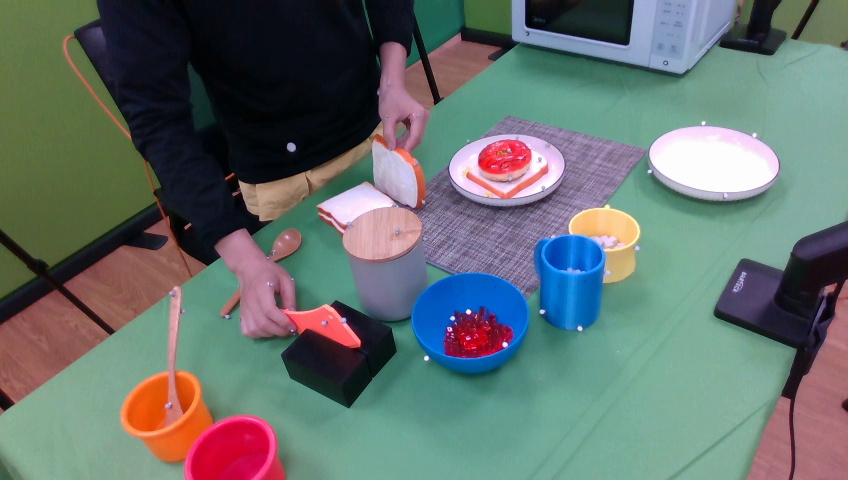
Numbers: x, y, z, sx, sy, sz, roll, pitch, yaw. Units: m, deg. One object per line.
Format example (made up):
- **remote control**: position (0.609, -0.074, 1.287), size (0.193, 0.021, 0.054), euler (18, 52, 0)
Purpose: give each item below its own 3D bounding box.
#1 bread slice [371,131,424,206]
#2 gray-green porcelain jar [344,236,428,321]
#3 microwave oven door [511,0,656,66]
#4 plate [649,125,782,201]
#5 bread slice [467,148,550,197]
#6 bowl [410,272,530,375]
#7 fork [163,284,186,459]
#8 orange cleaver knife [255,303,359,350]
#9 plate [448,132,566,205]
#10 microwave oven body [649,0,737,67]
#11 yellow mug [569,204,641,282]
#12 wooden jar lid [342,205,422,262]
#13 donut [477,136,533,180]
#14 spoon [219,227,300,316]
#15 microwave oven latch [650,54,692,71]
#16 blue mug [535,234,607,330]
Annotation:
- **bread slice**: position (-0.047, -0.115, 1.049), size (0.018, 0.107, 0.133), euler (-27, 47, -29)
- **gray-green porcelain jar**: position (-0.049, 0.042, 0.849), size (0.106, 0.127, 0.105), euler (-4, 41, 4)
- **microwave oven door**: position (0.351, -0.539, 1.348), size (0.353, 0.245, 0.039), euler (24, 50, 31)
- **plate**: position (0.493, -0.127, 1.036), size (0.207, 0.039, 0.206), euler (-4, 41, 4)
- **bread slice**: position (0.156, -0.128, 1.084), size (0.132, 0.019, 0.104), euler (-35, 48, -24)
- **bowl**: position (0.061, 0.120, 0.780), size (0.151, 0.077, 0.150), euler (-4, 40, 4)
- **fork**: position (-0.302, 0.157, 0.733), size (0.028, 0.019, 0.207), euler (-3, 84, 15)
- **orange cleaver knife**: position (-0.161, 0.115, 0.813), size (0.210, 0.077, 0.012), euler (-4, 30, 47)
- **plate**: position (0.146, -0.124, 1.075), size (0.209, 0.038, 0.208), euler (-3, 41, 4)
- **microwave oven body**: position (0.475, -0.602, 1.411), size (0.438, 0.261, 0.327), euler (23, 50, 32)
- **yellow mug**: position (0.268, -0.005, 0.904), size (0.099, 0.064, 0.130), euler (7, 41, 15)
- **wooden jar lid**: position (-0.055, -0.005, 0.808), size (0.108, 0.021, 0.108), euler (-6, 40, 6)
- **donut**: position (0.140, -0.145, 1.058), size (0.099, 0.048, 0.098), euler (-7, 41, 6)
- **spoon**: position (-0.260, 0.046, 0.953), size (0.041, 0.021, 0.194), euler (27, 49, 10)
- **microwave oven latch**: position (0.530, -0.386, 1.300), size (0.078, 0.029, 0.030), euler (23, 49, 31)
- **blue mug**: position (0.191, 0.048, 0.824), size (0.082, 0.106, 0.115), euler (-26, 44, -20)
